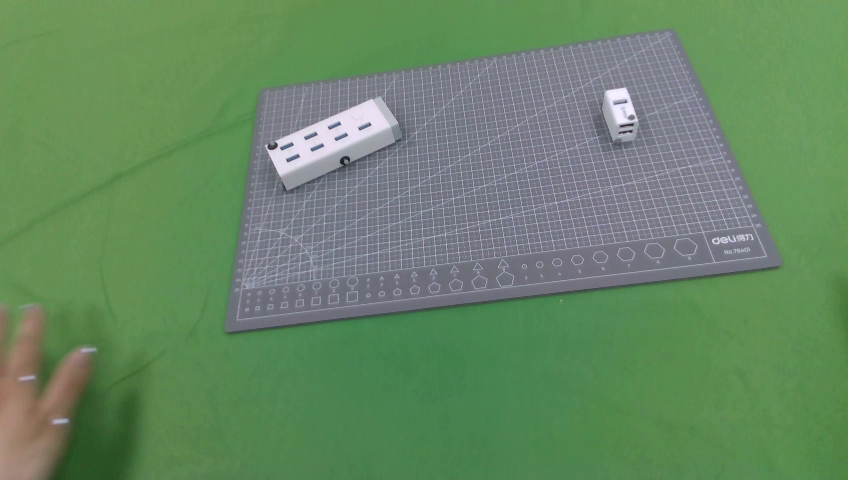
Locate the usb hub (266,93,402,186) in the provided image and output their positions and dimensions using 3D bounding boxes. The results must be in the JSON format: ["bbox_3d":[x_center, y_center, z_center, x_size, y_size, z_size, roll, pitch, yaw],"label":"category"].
[{"bbox_3d":[-0.088,-0.100,0.595,0.125,0.025,0.049,-25,56,-9],"label":"usb hub"}]

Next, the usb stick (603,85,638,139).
[{"bbox_3d":[0.182,-0.124,0.567,0.021,0.027,0.058,-9,53,6],"label":"usb stick"}]
